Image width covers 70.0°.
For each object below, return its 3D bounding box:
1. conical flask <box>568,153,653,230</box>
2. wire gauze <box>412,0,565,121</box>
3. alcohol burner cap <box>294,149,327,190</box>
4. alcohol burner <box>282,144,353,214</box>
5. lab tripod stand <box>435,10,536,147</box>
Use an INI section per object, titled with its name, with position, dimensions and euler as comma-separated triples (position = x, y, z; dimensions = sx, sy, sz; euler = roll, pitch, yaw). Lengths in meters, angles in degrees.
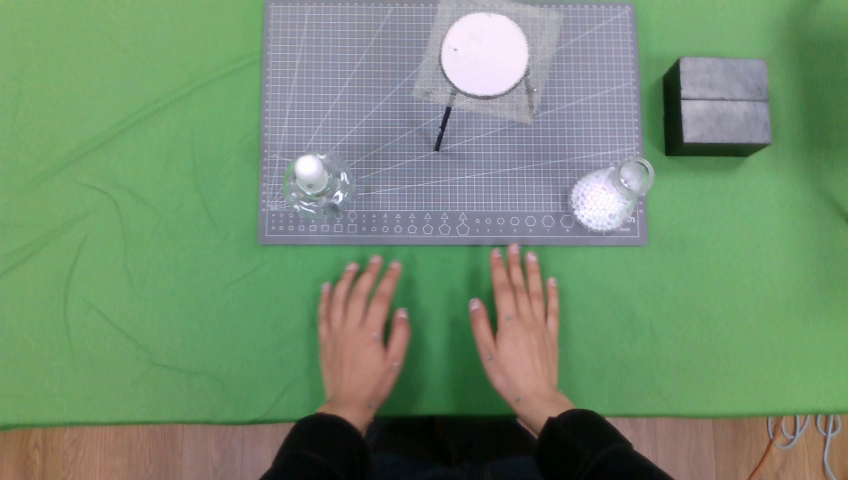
[conical flask]
position = 0.205, -0.057, 0.648
dimensions = 0.075, 0.122, 0.075
euler = 0, 82, -1
[wire gauze]
position = 0.064, -0.185, 0.589
dimensions = 0.121, 0.011, 0.124
euler = 17, 82, 2
[alcohol burner cap]
position = -0.116, -0.074, 0.611
dimensions = 0.034, 0.048, 0.033
euler = 1, 78, -5
[alcohol burner]
position = -0.116, -0.069, 0.647
dimensions = 0.078, 0.119, 0.077
euler = 0, 83, -1
[lab tripod stand]
position = 0.057, -0.177, 0.655
dimensions = 0.148, 0.132, 0.148
euler = 0, 82, 1
